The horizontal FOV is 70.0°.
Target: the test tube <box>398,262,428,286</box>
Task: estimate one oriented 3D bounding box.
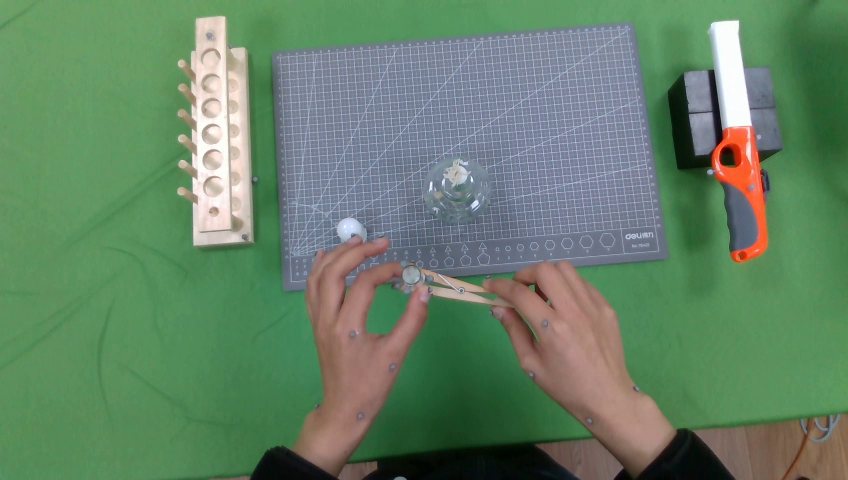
[{"bbox_3d":[-0.007,0.031,0.514,0.017,0.150,0.017,0,84,3],"label":"test tube"}]

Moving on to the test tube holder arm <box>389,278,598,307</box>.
[{"bbox_3d":[0.059,0.045,0.520,0.178,0.015,0.013,7,79,-1],"label":"test tube holder arm"}]

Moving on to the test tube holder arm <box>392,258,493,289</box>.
[{"bbox_3d":[0.016,0.032,0.521,0.088,0.015,0.010,16,79,1],"label":"test tube holder arm"}]

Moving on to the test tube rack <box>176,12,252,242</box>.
[{"bbox_3d":[-0.245,-0.125,0.692,0.067,0.085,0.241,-4,81,0],"label":"test tube rack"}]

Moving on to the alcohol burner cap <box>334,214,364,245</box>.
[{"bbox_3d":[-0.087,-0.014,0.693,0.034,0.048,0.033,0,79,0],"label":"alcohol burner cap"}]

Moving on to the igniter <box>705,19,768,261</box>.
[{"bbox_3d":[0.343,-0.114,0.671,0.057,0.025,0.275,-2,80,6],"label":"igniter"}]

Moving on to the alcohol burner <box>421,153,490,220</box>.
[{"bbox_3d":[0.035,-0.063,0.664,0.078,0.119,0.077,0,82,1],"label":"alcohol burner"}]
